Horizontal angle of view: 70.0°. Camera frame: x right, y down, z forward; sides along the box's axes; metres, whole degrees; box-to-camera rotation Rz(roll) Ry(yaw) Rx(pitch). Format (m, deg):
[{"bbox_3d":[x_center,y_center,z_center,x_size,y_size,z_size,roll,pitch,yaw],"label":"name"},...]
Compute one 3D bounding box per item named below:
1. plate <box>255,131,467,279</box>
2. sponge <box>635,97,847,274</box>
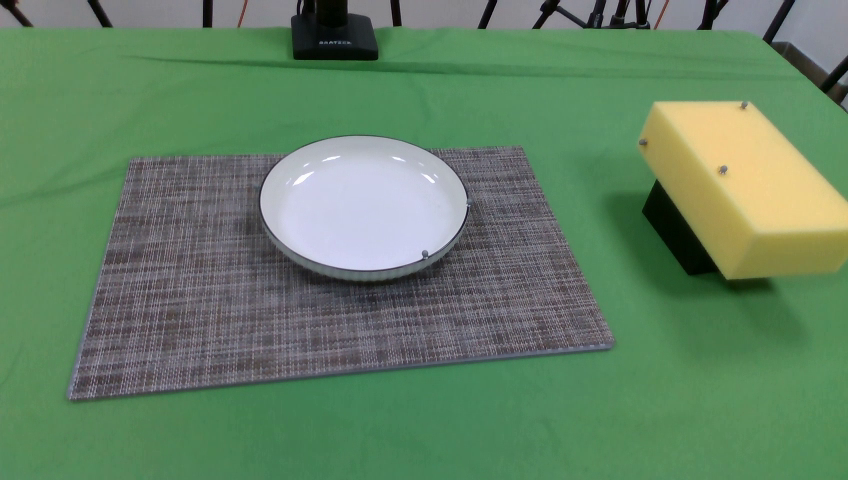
[{"bbox_3d":[-0.062,-0.035,0.612,0.208,0.039,0.205,4,45,-4],"label":"plate"},{"bbox_3d":[0.315,-0.063,0.608,0.118,0.061,0.204,-4,46,-11],"label":"sponge"}]
